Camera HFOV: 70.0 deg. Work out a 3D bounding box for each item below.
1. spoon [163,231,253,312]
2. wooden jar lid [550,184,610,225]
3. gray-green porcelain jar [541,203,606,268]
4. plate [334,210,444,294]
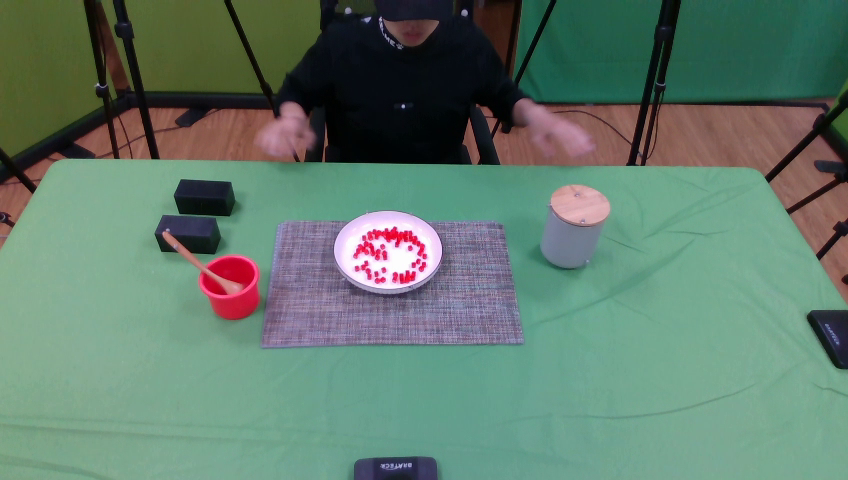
[{"bbox_3d":[-0.364,0.054,1.024,0.194,0.021,0.041,43,49,-17],"label":"spoon"},{"bbox_3d":[0.286,-0.061,1.114,0.108,0.021,0.107,0,46,0],"label":"wooden jar lid"},{"bbox_3d":[0.283,-0.017,1.161,0.106,0.127,0.105,2,46,-2],"label":"gray-green porcelain jar"},{"bbox_3d":[-0.066,0.026,1.150,0.208,0.039,0.206,2,46,-2],"label":"plate"}]
